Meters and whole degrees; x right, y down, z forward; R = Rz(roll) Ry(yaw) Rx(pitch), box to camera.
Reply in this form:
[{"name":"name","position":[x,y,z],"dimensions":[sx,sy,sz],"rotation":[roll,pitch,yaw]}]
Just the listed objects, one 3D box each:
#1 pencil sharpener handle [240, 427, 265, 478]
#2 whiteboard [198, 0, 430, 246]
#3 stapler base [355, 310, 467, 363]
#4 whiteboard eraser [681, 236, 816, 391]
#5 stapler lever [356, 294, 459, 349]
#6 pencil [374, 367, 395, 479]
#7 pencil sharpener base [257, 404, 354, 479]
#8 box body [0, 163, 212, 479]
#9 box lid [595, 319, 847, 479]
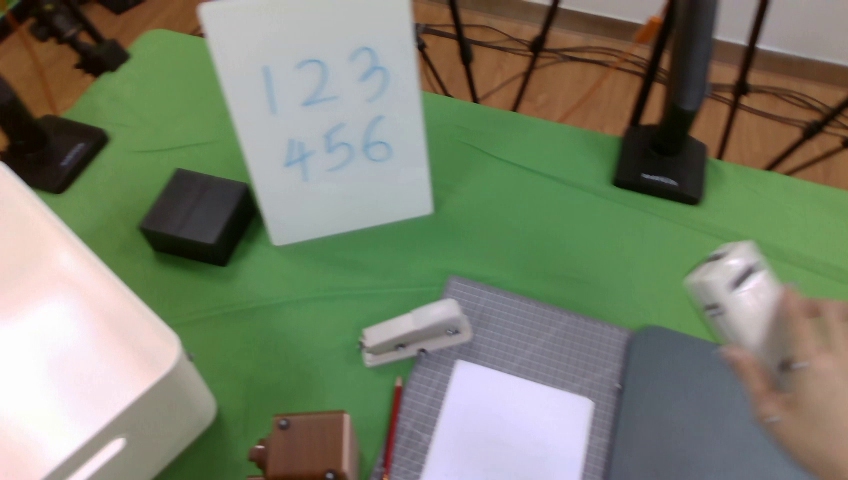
[{"name":"pencil sharpener handle","position":[-0.162,0.203,0.566],"dimensions":[0.030,0.068,0.035],"rotation":[-2,39,-1]},{"name":"whiteboard","position":[-0.124,-0.176,0.760],"dimensions":[0.217,0.308,0.142],"rotation":[-12,37,-8]},{"name":"stapler base","position":[-0.015,0.105,0.700],"dimensions":[0.131,0.024,0.041],"rotation":[-14,52,-6]},{"name":"whiteboard eraser","position":[0.246,0.056,0.465],"dimensions":[0.055,0.042,0.113],"rotation":[-37,92,-25]},{"name":"stapler lever","position":[-0.018,0.091,0.680],"dimensions":[0.118,0.040,0.026],"rotation":[-14,52,-6]},{"name":"pencil","position":[-0.044,0.222,0.628],"dimensions":[0.012,0.012,0.192],"rotation":[5,55,3]},{"name":"pencil sharpener base","position":[-0.111,0.205,0.581],"dimensions":[0.077,0.108,0.061],"rotation":[-2,56,-1]},{"name":"box body","position":[-0.424,0.118,0.603],"dimensions":[0.361,0.162,0.253],"rotation":[35,62,21]},{"name":"box lid","position":[0.305,0.264,0.604],"dimensions":[0.262,0.015,0.369],"rotation":[17,57,9]}]
